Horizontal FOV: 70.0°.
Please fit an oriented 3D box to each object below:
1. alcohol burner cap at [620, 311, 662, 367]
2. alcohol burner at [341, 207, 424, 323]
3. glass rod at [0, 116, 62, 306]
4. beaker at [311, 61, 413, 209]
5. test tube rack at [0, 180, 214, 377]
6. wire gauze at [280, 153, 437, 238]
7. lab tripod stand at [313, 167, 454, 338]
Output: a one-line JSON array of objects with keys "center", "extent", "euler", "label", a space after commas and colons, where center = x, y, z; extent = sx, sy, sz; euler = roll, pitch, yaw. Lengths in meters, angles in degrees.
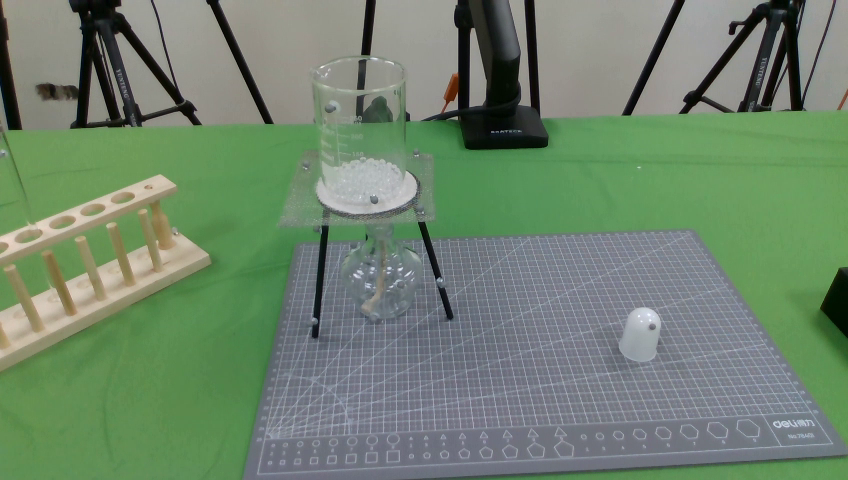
[{"center": [0.191, 0.083, 0.526], "extent": [0.034, 0.048, 0.033], "euler": [0, 36, 1], "label": "alcohol burner cap"}, {"center": [-0.038, 0.019, 0.558], "extent": [0.078, 0.120, 0.077], "euler": [1, 37, 0], "label": "alcohol burner"}, {"center": [-0.352, -0.026, 0.538], "extent": [0.008, 0.201, 0.008], "euler": [0, 28, 0], "label": "glass rod"}, {"center": [-0.051, -0.083, 0.484], "extent": [0.083, 0.101, 0.074], "euler": [22, 40, 26], "label": "beaker"}, {"center": [-0.330, 0.035, 0.567], "extent": [0.066, 0.086, 0.242], "euler": [28, 44, 34], "label": "test tube rack"}, {"center": [-0.051, -0.042, 0.511], "extent": [0.121, 0.011, 0.124], "euler": [0, 37, 0], "label": "wire gauze"}, {"center": [-0.042, 0.011, 0.551], "extent": [0.148, 0.132, 0.147], "euler": [1, 34, 0], "label": "lab tripod stand"}]
